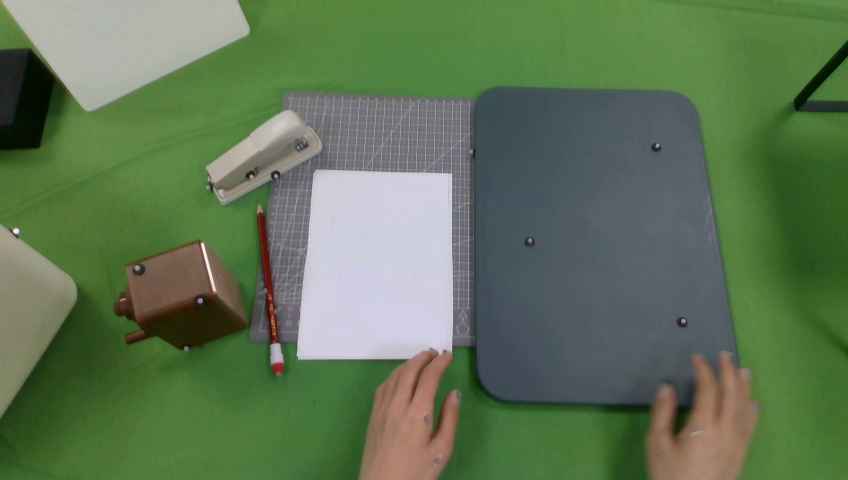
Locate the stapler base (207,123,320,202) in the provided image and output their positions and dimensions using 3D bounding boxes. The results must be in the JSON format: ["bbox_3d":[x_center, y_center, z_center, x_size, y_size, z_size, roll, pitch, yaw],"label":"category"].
[{"bbox_3d":[-0.180,-0.093,0.673,0.130,0.024,0.041,-32,68,-9],"label":"stapler base"}]

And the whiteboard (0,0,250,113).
[{"bbox_3d":[-0.366,-0.339,0.652,0.217,0.308,0.142,-30,52,-12],"label":"whiteboard"}]

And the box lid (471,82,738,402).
[{"bbox_3d":[0.184,-0.015,0.656,0.263,0.015,0.368,2,69,-1],"label":"box lid"}]

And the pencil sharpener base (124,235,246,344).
[{"bbox_3d":[-0.223,0.051,0.572,0.077,0.108,0.061,-19,70,-8],"label":"pencil sharpener base"}]

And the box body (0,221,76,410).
[{"bbox_3d":[-0.548,0.054,0.536,0.363,0.161,0.253,21,70,7],"label":"box body"}]

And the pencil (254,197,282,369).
[{"bbox_3d":[-0.164,0.039,0.628,0.012,0.012,0.192,-11,68,-5],"label":"pencil"}]

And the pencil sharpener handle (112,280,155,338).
[{"bbox_3d":[-0.270,0.067,0.551,0.031,0.068,0.035,-19,53,-8],"label":"pencil sharpener handle"}]

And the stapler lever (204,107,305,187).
[{"bbox_3d":[-0.182,-0.102,0.650,0.118,0.040,0.026,-32,67,-9],"label":"stapler lever"}]
